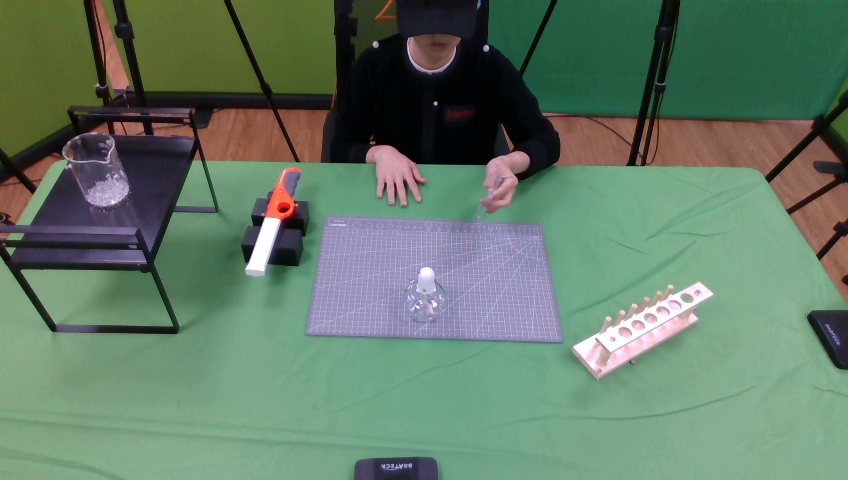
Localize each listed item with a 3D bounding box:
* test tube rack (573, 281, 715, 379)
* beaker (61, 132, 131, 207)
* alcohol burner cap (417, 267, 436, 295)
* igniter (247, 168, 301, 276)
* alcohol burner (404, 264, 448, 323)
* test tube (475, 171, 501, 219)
[{"bbox_3d":[0.378,0.140,1.038,0.242,0.085,0.066,-22,51,-23],"label":"test tube rack"},{"bbox_3d":[-0.512,-0.107,0.959,0.083,0.101,0.074,29,51,22],"label":"beaker"},{"bbox_3d":[0.004,0.066,1.019,0.034,0.048,0.033,0,47,1],"label":"alcohol burner cap"},{"bbox_3d":[-0.282,-0.043,1.149,0.057,0.025,0.275,8,48,-1],"label":"igniter"},{"bbox_3d":[0.003,0.087,1.042,0.078,0.120,0.077,1,45,0],"label":"alcohol burner"},{"bbox_3d":[0.119,-0.081,1.139,0.017,0.151,0.017,4,61,-7],"label":"test tube"}]
